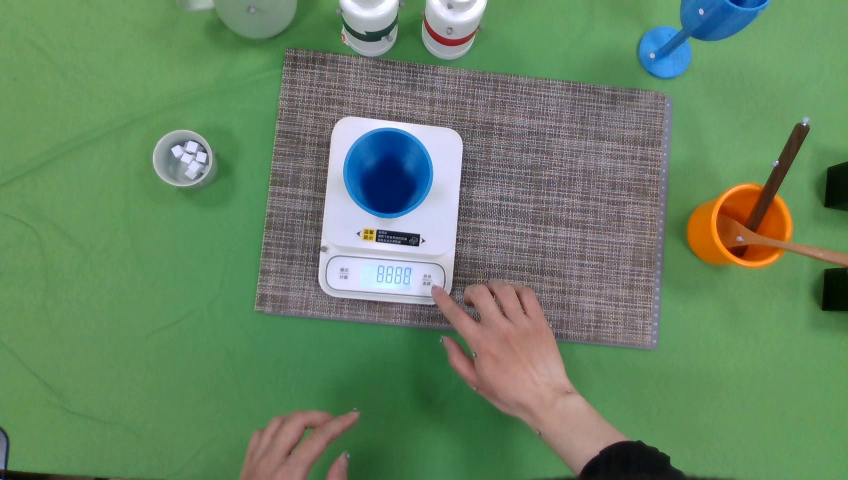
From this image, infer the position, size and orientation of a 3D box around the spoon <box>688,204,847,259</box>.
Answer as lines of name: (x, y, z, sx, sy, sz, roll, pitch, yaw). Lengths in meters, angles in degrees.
spoon: (0.379, -0.002, 0.647, 0.022, 0.192, 0.041, 19, 91, -46)

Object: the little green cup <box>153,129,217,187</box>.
little green cup: (-0.257, -0.087, 0.659, 0.061, 0.038, 0.061, 1, 85, -6)

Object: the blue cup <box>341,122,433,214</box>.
blue cup: (-0.037, -0.064, 0.609, 0.093, 0.100, 0.092, 0, 87, -4)

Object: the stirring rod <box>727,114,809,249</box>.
stirring rod: (0.365, -0.056, 0.650, 0.014, 0.177, 0.006, 13, 44, 10)

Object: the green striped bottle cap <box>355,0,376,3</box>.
green striped bottle cap: (-0.059, -0.258, 0.595, 0.044, 0.020, 0.044, 0, 85, -4)

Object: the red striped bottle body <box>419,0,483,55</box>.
red striped bottle body: (0.029, -0.252, 0.653, 0.063, 0.120, 0.063, 0, 84, -4)

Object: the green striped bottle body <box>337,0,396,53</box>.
green striped bottle body: (-0.061, -0.253, 0.647, 0.063, 0.119, 0.063, 0, 84, -4)

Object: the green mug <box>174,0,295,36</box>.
green mug: (-0.205, -0.273, 0.645, 0.125, 0.105, 0.092, -17, 87, -5)

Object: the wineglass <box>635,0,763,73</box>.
wineglass: (0.291, -0.241, 0.646, 0.074, 0.172, 0.073, 0, 85, -3)

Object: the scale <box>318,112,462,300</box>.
scale: (-0.037, -0.037, 0.672, 0.149, 0.031, 0.200, 5, 86, -4)

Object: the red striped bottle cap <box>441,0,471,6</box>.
red striped bottle cap: (0.032, -0.257, 0.601, 0.044, 0.018, 0.044, 1, 84, -7)
